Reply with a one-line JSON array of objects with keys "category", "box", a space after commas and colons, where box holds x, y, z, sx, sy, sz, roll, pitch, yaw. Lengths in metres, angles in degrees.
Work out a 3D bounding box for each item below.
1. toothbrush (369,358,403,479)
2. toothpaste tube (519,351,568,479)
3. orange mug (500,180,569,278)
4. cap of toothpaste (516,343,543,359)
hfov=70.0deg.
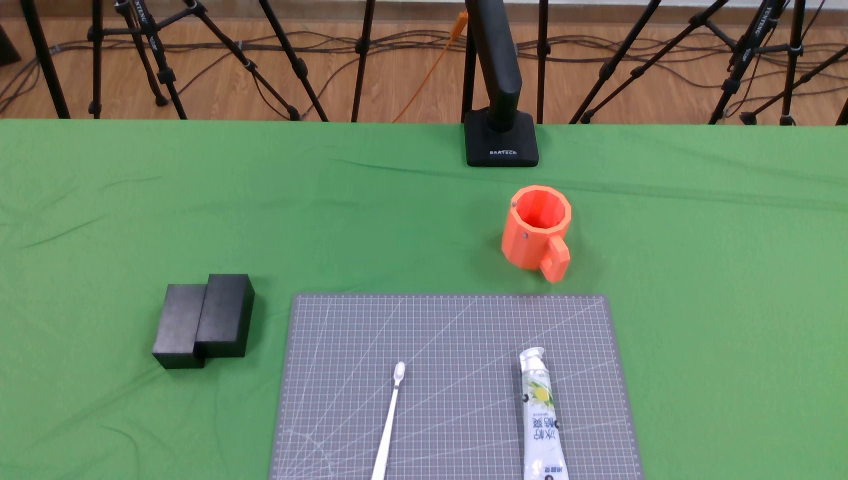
[{"category": "toothbrush", "box": [-0.047, 0.231, 0.750, 0.014, 0.017, 0.180, 15, 58, -6]}, {"category": "toothpaste tube", "box": [0.141, 0.219, 0.760, 0.055, 0.035, 0.163, -4, 61, 3]}, {"category": "orange mug", "box": [0.166, -0.010, 0.872, 0.083, 0.102, 0.125, -18, 55, -13]}, {"category": "cap of toothpaste", "box": [0.140, 0.148, 0.799, 0.037, 0.037, 0.011, -10, 55, -9]}]
